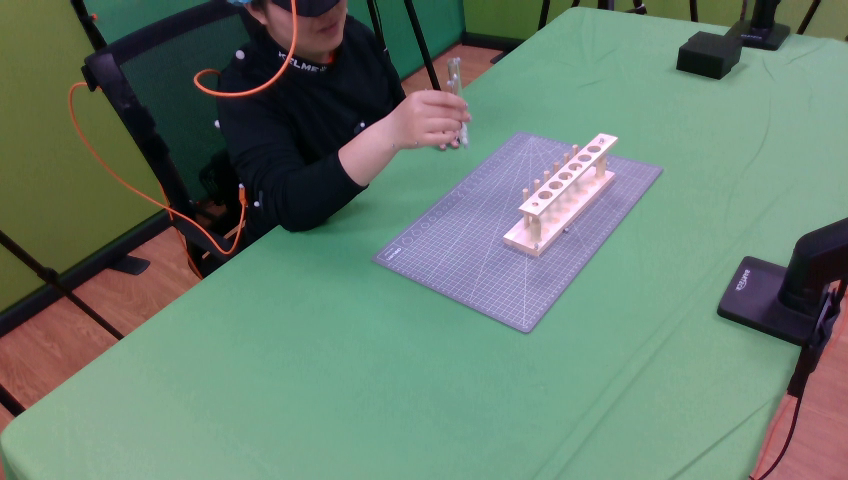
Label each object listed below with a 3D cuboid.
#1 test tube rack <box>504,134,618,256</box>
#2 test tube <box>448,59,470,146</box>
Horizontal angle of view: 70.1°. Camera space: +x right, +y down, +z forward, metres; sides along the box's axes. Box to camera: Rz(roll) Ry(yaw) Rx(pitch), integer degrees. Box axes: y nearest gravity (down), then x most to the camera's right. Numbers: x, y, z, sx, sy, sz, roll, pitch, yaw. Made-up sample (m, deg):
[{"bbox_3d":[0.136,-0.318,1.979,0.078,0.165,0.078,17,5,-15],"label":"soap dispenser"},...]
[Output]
[{"bbox_3d":[0.225,-0.083,0.985,0.066,0.085,0.243,25,50,34],"label":"test tube rack"},{"bbox_3d":[0.054,-0.203,0.914,0.017,0.151,0.017,-7,46,7],"label":"test tube"}]
